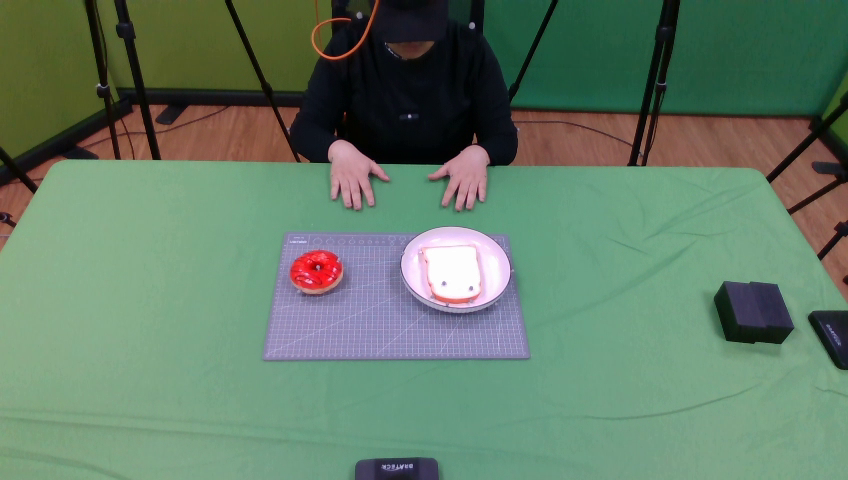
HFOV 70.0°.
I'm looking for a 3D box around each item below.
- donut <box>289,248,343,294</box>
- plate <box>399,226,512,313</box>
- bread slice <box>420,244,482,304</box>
[{"bbox_3d":[-0.197,0.056,1.111,0.099,0.048,0.098,1,45,-1],"label":"donut"},{"bbox_3d":[0.057,0.057,1.134,0.209,0.038,0.208,2,46,-2],"label":"plate"},{"bbox_3d":[0.055,0.062,1.131,0.107,0.018,0.133,-6,47,-8],"label":"bread slice"}]
